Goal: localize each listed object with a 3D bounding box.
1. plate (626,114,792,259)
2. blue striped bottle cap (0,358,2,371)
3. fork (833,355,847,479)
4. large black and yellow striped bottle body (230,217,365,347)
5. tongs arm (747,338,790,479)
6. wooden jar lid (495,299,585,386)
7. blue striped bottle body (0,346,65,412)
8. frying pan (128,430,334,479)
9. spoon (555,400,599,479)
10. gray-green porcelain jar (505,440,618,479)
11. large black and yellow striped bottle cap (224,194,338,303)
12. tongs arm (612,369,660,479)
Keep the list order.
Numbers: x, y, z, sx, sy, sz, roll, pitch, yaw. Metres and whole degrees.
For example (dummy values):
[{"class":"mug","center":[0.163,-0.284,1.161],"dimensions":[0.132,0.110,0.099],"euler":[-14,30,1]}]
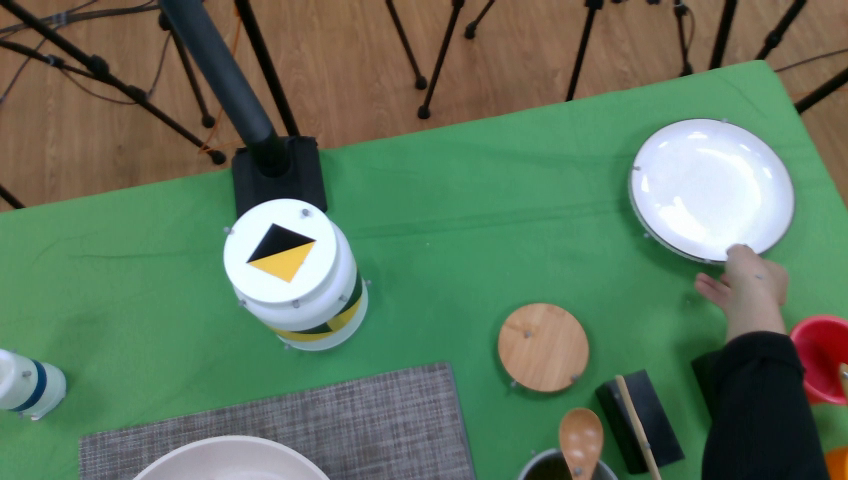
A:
[{"class":"plate","center":[0.369,-0.069,0.798],"dimensions":[0.209,0.038,0.207],"euler":[-1,68,2]},{"class":"blue striped bottle cap","center":[-0.481,0.139,0.649],"dimensions":[0.044,0.021,0.044],"euler":[-1,70,2]},{"class":"fork","center":[0.446,0.201,0.628],"dimensions":[0.028,0.018,0.209],"euler":[-25,114,0]},{"class":"large black and yellow striped bottle body","center":[-0.143,0.041,0.697],"dimensions":[0.131,0.185,0.130],"euler":[-1,68,2]},{"class":"tongs arm","center":[0.365,0.295,0.620],"dimensions":[0.028,0.028,0.385],"euler":[-2,79,-4]},{"class":"wooden jar lid","center":[0.141,0.125,0.740],"dimensions":[0.108,0.021,0.107],"euler":[-1,69,2]},{"class":"blue striped bottle body","center":[-0.478,0.159,0.696],"dimensions":[0.063,0.121,0.062],"euler":[-1,68,2]},{"class":"frying pan","center":[-0.255,0.429,0.586],"dimensions":[0.305,0.103,0.486],"euler":[27,64,13]},{"class":"spoon","center":[0.140,0.248,0.559],"dimensions":[0.041,0.022,0.192],"euler":[4,72,2]},{"class":"gray-green porcelain jar","center":[0.137,0.266,0.627],"dimensions":[0.106,0.127,0.105],"euler":[-1,68,2]},{"class":"large black and yellow striped bottle cap","center":[-0.146,0.008,0.619],"dimensions":[0.115,0.019,0.114],"euler":[-1,70,2]},{"class":"tongs arm","center":[0.283,0.313,0.620],"dimensions":[0.051,0.026,0.383],"euler":[-16,79,-3]}]
